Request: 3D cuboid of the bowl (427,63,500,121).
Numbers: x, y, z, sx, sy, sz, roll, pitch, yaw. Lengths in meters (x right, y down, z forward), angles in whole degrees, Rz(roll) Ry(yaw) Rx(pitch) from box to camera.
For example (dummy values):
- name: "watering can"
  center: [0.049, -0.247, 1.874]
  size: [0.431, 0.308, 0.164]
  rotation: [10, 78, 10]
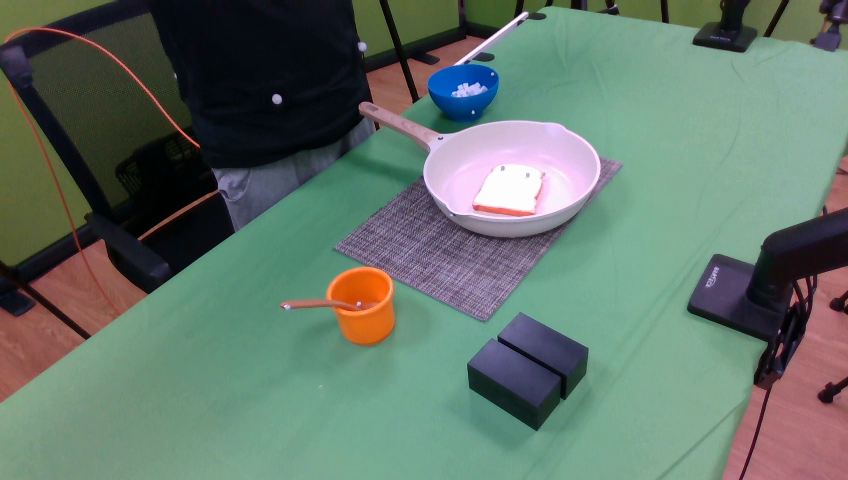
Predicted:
- name: "bowl"
  center: [0.084, -0.301, 1.263]
  size: [0.151, 0.077, 0.150]
  rotation: [-4, 41, 4]

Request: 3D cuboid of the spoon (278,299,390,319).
- name: "spoon"
  center: [-0.113, 0.086, 0.787]
  size: [0.041, 0.021, 0.195]
  rotation: [30, 8, 36]

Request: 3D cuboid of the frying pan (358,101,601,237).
- name: "frying pan"
  center: [0.067, -0.153, 1.067]
  size: [0.484, 0.103, 0.308]
  rotation: [32, 52, 26]

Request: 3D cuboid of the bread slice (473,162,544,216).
- name: "bread slice"
  center: [0.149, -0.089, 1.041]
  size: [0.106, 0.018, 0.134]
  rotation: [7, 44, 15]
